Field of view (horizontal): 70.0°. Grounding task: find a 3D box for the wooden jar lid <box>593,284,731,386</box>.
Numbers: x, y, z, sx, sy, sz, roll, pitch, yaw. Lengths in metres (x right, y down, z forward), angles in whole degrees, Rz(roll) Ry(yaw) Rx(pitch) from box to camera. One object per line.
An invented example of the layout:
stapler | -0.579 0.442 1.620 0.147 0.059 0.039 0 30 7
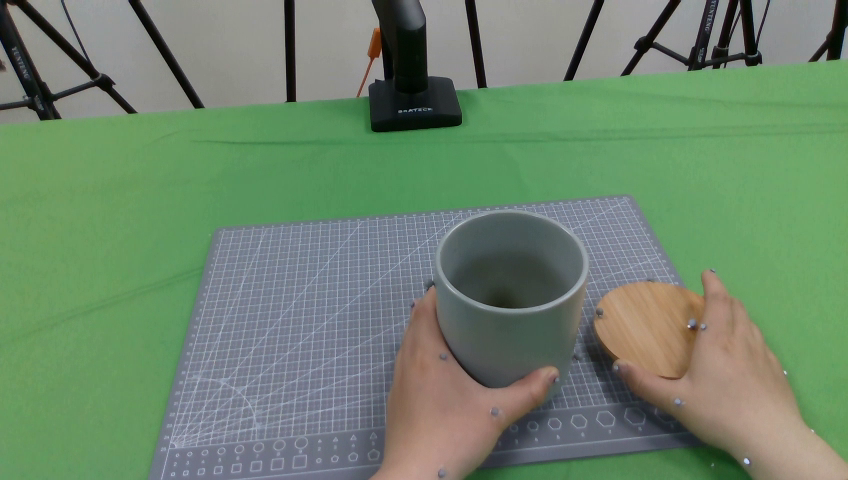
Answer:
wooden jar lid | 0.195 0.079 0.503 0.108 0.021 0.107 -3 37 3

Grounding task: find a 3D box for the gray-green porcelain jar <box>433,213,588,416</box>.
gray-green porcelain jar | 0.061 0.060 0.453 0.106 0.127 0.105 -1 41 2
